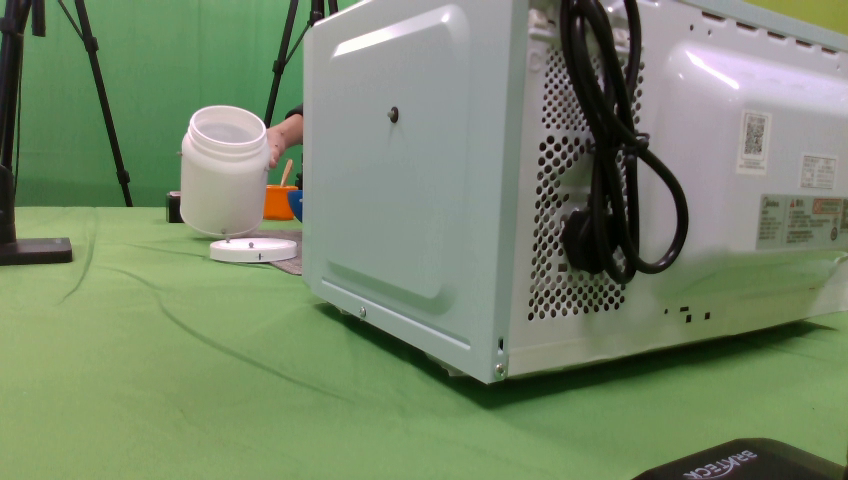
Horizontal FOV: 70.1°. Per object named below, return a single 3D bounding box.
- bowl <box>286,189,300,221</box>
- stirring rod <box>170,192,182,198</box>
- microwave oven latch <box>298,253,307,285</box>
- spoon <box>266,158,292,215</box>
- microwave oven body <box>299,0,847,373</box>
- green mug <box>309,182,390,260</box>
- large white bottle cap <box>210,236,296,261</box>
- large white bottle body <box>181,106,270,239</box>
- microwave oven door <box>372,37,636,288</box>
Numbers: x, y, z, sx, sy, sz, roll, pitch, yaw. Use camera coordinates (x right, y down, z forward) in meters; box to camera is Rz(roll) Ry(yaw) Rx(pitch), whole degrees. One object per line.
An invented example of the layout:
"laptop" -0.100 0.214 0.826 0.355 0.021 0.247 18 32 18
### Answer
"bowl" -0.179 -0.051 1.114 0.151 0.077 0.151 2 8 0
"stirring rod" -0.465 -0.098 1.283 0.014 0.006 0.177 42 22 17
"microwave oven latch" -0.081 0.027 0.582 0.079 0.029 0.030 -1 7 -32
"spoon" -0.334 -0.128 1.423 0.041 0.193 0.022 0 -37 7
"microwave oven body" 0.151 -0.055 0.542 0.444 0.260 0.324 -2 7 -33
"green mug" -0.102 -0.029 0.864 0.126 0.105 0.092 -3 8 -40
"large white bottle cap" -0.236 0.011 0.839 0.115 0.018 0.115 -1 9 0
"large white bottle body" -0.319 -0.108 0.973 0.131 0.184 0.130 12 39 -10
"microwave oven door" 0.110 -0.080 0.687 0.358 0.243 0.039 -2 9 -33
